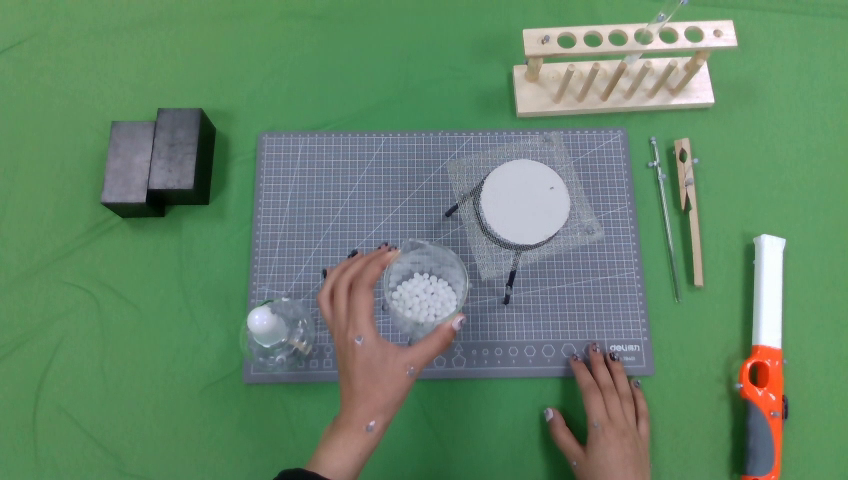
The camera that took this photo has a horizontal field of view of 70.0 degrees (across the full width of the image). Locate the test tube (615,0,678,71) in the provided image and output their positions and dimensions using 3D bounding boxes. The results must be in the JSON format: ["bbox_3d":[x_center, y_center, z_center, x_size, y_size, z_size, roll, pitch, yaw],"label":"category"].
[{"bbox_3d":[0.250,-0.235,0.680,0.017,0.151,0.017,2,73,-6],"label":"test tube"}]

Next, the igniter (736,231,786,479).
[{"bbox_3d":[0.370,0.124,0.663,0.057,0.025,0.275,13,74,-7],"label":"igniter"}]

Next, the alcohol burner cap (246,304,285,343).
[{"bbox_3d":[-0.156,0.078,0.584,0.034,0.048,0.033,1,64,-1],"label":"alcohol burner cap"}]

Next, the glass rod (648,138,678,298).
[{"bbox_3d":[0.280,-0.029,0.714,0.008,0.008,0.198,-2,74,-1],"label":"glass rod"}]

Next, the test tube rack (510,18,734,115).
[{"bbox_3d":[0.231,-0.205,0.722,0.242,0.085,0.066,-3,74,-1],"label":"test tube rack"}]

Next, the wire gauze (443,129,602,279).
[{"bbox_3d":[0.092,-0.038,0.577,0.121,0.011,0.124,-17,75,-4],"label":"wire gauze"}]

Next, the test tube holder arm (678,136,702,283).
[{"bbox_3d":[0.311,-0.038,0.710,0.013,0.015,0.177,-10,72,31],"label":"test tube holder arm"}]

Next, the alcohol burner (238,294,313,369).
[{"bbox_3d":[-0.155,0.090,0.618,0.078,0.120,0.077,0,72,0],"label":"alcohol burner"}]

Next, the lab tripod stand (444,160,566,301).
[{"bbox_3d":[0.087,-0.018,0.641,0.148,0.132,0.147,0,75,1],"label":"lab tripod stand"}]

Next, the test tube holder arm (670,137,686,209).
[{"bbox_3d":[0.306,-0.080,0.724,0.010,0.015,0.087,-10,72,31],"label":"test tube holder arm"}]

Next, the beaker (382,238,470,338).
[{"bbox_3d":[-0.002,0.049,0.566,0.074,0.101,0.083,-21,75,-9],"label":"beaker"}]
